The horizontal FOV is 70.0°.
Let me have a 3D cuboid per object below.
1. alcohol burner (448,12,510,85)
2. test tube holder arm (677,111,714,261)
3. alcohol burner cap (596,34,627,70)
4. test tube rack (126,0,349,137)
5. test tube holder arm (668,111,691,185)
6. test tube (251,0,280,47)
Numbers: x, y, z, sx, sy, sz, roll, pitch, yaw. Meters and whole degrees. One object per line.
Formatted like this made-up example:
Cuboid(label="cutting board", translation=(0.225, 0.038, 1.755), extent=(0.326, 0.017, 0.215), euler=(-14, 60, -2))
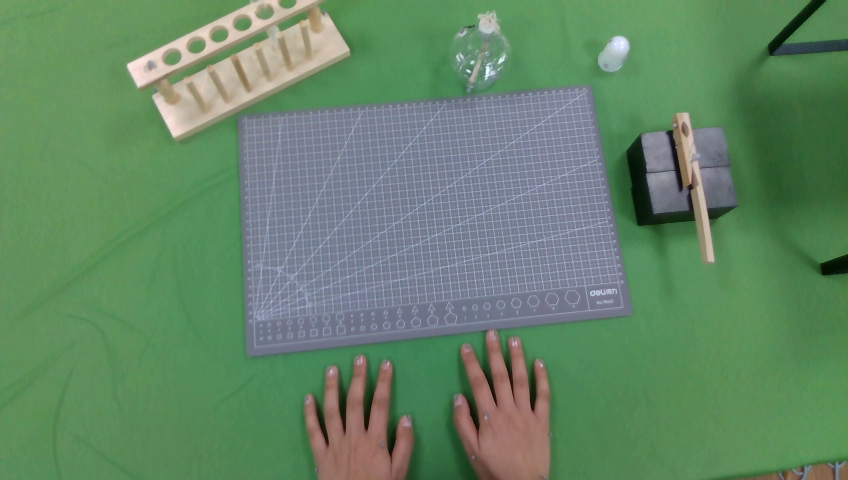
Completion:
Cuboid(label="alcohol burner", translation=(0.068, -0.238, 0.730), extent=(0.078, 0.119, 0.077), euler=(0, 78, -2))
Cuboid(label="test tube holder arm", translation=(0.310, -0.064, 0.697), extent=(0.013, 0.015, 0.177), euler=(-7, 79, -4))
Cuboid(label="alcohol burner cap", translation=(0.241, -0.242, 0.774), extent=(0.034, 0.048, 0.033), euler=(0, 76, 0))
Cuboid(label="test tube rack", translation=(-0.216, -0.223, 0.732), extent=(0.242, 0.085, 0.066), euler=(-29, 79, -8))
Cuboid(label="test tube holder arm", translation=(0.299, -0.107, 0.706), extent=(0.010, 0.015, 0.087), euler=(-6, 79, -4))
Cuboid(label="test tube", translation=(-0.189, -0.274, 0.691), extent=(0.017, 0.151, 0.017), euler=(-3, 67, 7))
